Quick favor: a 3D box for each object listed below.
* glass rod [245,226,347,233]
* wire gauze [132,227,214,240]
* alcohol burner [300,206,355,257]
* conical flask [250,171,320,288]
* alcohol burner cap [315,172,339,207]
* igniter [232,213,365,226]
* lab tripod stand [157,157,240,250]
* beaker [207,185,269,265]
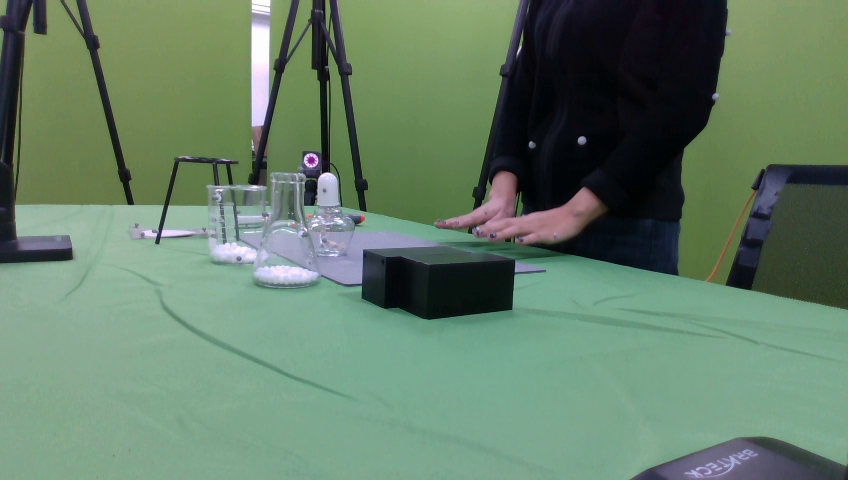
[{"bbox_3d":[-0.237,-0.021,1.141,0.201,0.008,0.008,-3,9,-32],"label":"glass rod"},{"bbox_3d":[-0.425,-0.013,1.018,0.122,0.011,0.124,-1,6,-28],"label":"wire gauze"},{"bbox_3d":[-0.137,-0.037,0.858,0.078,0.119,0.078,0,7,0],"label":"alcohol burner"},{"bbox_3d":[-0.150,-0.013,0.658,0.075,0.122,0.075,2,7,0],"label":"conical flask"},{"bbox_3d":[-0.137,-0.072,0.852,0.034,0.048,0.034,1,14,0],"label":"alcohol burner cap"},{"bbox_3d":[-0.246,-0.042,1.223,0.278,0.025,0.057,-3,-1,-36],"label":"igniter"},{"bbox_3d":[-0.322,-0.057,0.905,0.148,0.131,0.148,4,7,0],"label":"lab tripod stand"},{"bbox_3d":[-0.244,-0.021,0.784,0.083,0.100,0.074,6,8,30],"label":"beaker"}]
